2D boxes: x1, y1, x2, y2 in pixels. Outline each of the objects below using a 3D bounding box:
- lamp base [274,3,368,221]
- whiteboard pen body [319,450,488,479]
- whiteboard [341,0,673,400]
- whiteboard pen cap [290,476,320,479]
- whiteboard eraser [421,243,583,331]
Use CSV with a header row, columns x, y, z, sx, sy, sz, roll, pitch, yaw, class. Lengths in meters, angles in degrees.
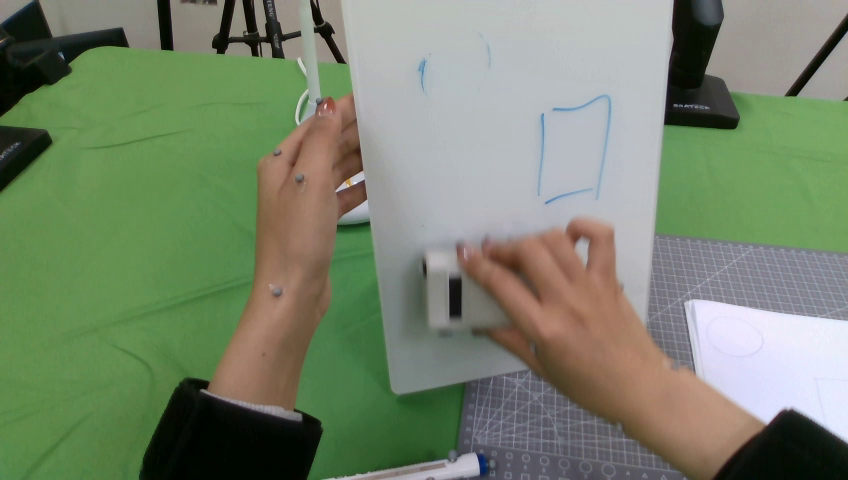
x,y,z,sx,sy,sz,roll,pitch,yaw,class
-0.093,-0.138,0.625,0.161,0.182,0.177,-29,48,-28,lamp base
-0.025,0.162,0.416,0.141,0.017,0.017,-6,43,-9,whiteboard pen body
0.056,-0.056,0.489,0.217,0.307,0.142,-9,24,-8,whiteboard
-0.084,0.169,0.406,0.033,0.018,0.018,-6,43,-12,whiteboard pen cap
0.055,0.033,0.433,0.113,0.056,0.041,-3,19,-8,whiteboard eraser
